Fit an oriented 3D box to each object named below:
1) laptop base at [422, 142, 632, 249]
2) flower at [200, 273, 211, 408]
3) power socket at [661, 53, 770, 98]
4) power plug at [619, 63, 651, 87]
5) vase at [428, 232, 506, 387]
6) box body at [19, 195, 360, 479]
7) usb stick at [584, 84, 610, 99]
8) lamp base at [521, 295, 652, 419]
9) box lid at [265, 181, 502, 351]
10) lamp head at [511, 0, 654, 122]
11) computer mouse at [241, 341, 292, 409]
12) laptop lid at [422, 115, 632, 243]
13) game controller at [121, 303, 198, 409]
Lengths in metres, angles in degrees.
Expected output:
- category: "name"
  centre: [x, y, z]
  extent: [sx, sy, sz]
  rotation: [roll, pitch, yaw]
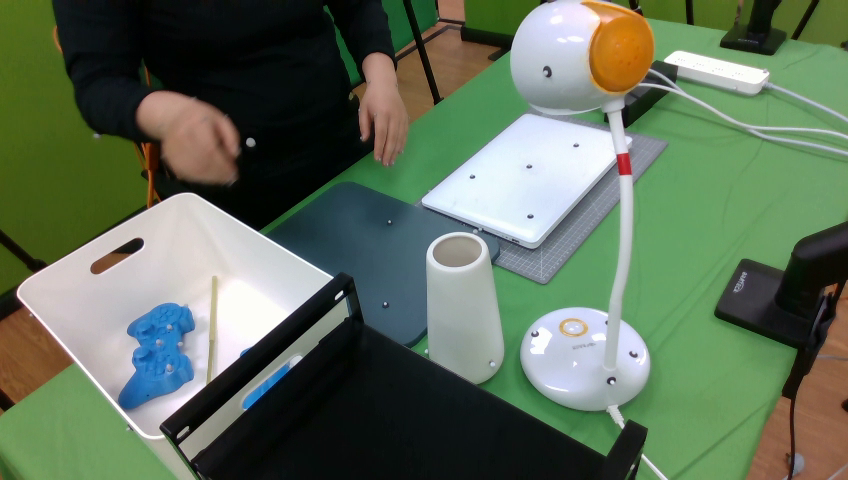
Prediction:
- category: "laptop base"
  centre: [0.192, -0.117, 1.087]
  extent: [0.233, 0.023, 0.355]
  rotation: [21, 47, 35]
- category: "flower"
  centre: [-0.293, 0.161, 0.817]
  extent: [0.044, 0.038, 0.358]
  rotation: [3, 36, -25]
- category: "power socket"
  centre: [0.617, -0.355, 1.292]
  extent: [0.225, 0.033, 0.072]
  rotation: [29, 53, 35]
- category: "power plug"
  centre: [0.435, -0.341, 1.265]
  extent: [0.035, 0.053, 0.072]
  rotation: [5, 30, -14]
- category: "vase"
  centre: [0.050, 0.087, 0.728]
  extent: [0.098, 0.201, 0.097]
  rotation: [-3, 40, 3]
- category: "box body"
  centre: [-0.288, 0.118, 0.772]
  extent: [0.361, 0.161, 0.255]
  rotation: [26, 50, 33]
- category: "usb stick"
  centre: [0.354, -0.306, 1.252]
  extent: [0.027, 0.021, 0.058]
  rotation: [-3, 1, -39]
- category: "lamp base"
  centre: [0.200, 0.095, 0.710]
  extent: [0.161, 0.181, 0.178]
  rotation: [-16, 43, -10]
- category: "box lid"
  centre: [-0.087, 0.022, 0.971]
  extent: [0.368, 0.015, 0.264]
  rotation: [23, 49, 31]
- category: "lamp head"
  centre: [0.155, -0.168, 0.563]
  extent: [0.113, 0.113, 0.122]
  rotation: [-18, 23, -12]
- category: "computer mouse"
  centre: [-0.201, 0.177, 0.776]
  extent: [0.063, 0.041, 0.116]
  rotation: [-11, 44, -8]
- category: "laptop lid"
  centre: [0.189, -0.126, 1.081]
  extent: [0.239, 0.013, 0.358]
  rotation: [23, 48, 35]
- category: "game controller"
  centre: [-0.364, 0.149, 0.828]
  extent: [0.097, 0.052, 0.154]
  rotation: [-13, 41, -9]
